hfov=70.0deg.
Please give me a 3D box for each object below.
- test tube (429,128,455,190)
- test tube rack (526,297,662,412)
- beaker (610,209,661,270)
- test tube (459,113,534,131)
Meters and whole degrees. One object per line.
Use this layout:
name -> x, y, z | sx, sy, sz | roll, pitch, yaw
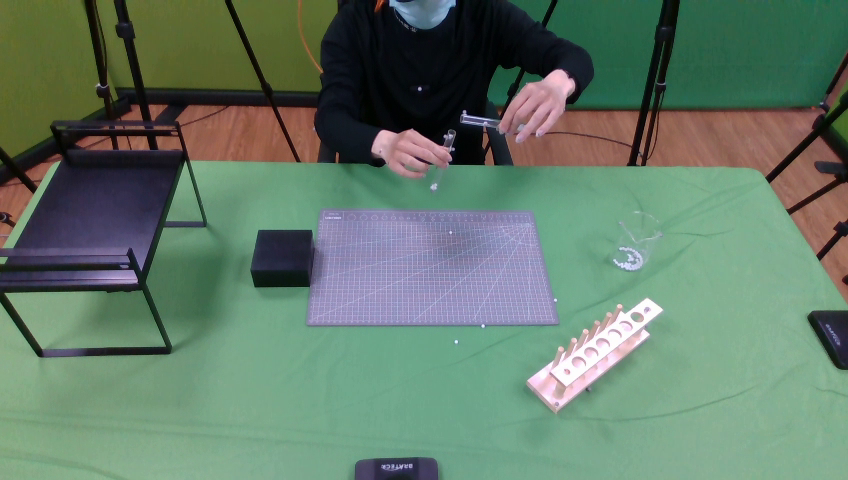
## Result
test tube -> 0.033, -0.148, 1.134 | 0.017, 0.151, 0.017 | 8, 49, -10
test tube rack -> 0.284, 0.176, 1.007 | 0.242, 0.085, 0.066 | -28, 54, -27
beaker -> 0.404, 0.005, 1.170 | 0.074, 0.101, 0.083 | 19, 49, 15
test tube -> 0.132, -0.212, 1.090 | 0.151, 0.017, 0.017 | 3, 44, -21
